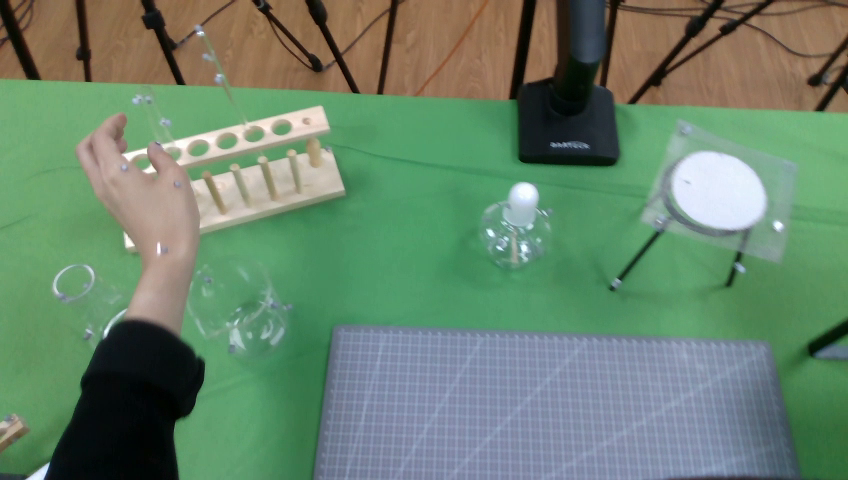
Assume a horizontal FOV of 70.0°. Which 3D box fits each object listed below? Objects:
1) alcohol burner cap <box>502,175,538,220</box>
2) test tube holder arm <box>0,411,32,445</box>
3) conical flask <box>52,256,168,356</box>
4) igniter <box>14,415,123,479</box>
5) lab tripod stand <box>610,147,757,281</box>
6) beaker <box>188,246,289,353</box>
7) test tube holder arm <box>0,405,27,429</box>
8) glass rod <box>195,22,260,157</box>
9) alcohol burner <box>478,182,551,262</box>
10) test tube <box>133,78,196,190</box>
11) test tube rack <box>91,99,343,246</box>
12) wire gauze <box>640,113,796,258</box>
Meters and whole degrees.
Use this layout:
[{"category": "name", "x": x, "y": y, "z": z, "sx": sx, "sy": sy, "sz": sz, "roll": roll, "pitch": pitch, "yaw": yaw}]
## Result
[{"category": "alcohol burner cap", "x": 0.095, "y": -0.045, "z": 0.595, "sx": 0.034, "sy": 0.048, "sz": 0.033, "roll": 1, "pitch": 61, "yaw": -1}, {"category": "test tube holder arm", "x": -0.378, "y": 0.179, "z": 0.512, "sx": 0.088, "sy": 0.015, "sz": 0.010, "roll": -38, "pitch": 68, "yaw": -19}, {"category": "conical flask", "x": -0.300, "y": 0.058, "z": 0.572, "sx": 0.075, "sy": 0.123, "sz": 0.074, "roll": 0, "pitch": 62, "yaw": 0}, {"category": "igniter", "x": -0.371, "y": 0.243, "z": 0.475, "sx": 0.276, "sy": 0.025, "sz": 0.057, "roll": -38, "pitch": 70, "yaw": -22}, {"category": "lab tripod stand", "x": 0.266, "y": -0.019, "z": 0.614, "sx": 0.148, "sy": 0.132, "sz": 0.147, "roll": 1, "pitch": 61, "yaw": -1}, {"category": "beaker", "x": -0.175, "y": 0.065, "z": 0.584, "sx": 0.074, "sy": 0.101, "sz": 0.083, "roll": 16, "pitch": 64, "yaw": 9}, {"category": "test tube holder arm", "x": -0.415, "y": 0.202, "z": 0.499, "sx": 0.178, "sy": 0.015, "sz": 0.013, "roll": -39, "pitch": 68, "yaw": -20}, {"category": "glass rod", "x": -0.193, "y": -0.136, "z": 0.622, "sx": 0.008, "sy": 0.201, "sz": 0.008, "roll": -3, "pitch": 56, "yaw": 5}, {"category": "alcohol burner", "x": 0.096, "y": -0.026, "z": 0.627, "sx": 0.078, "sy": 0.120, "sz": 0.077, "roll": 1, "pitch": 60, "yaw": -1}, {"category": "test tube", "x": -0.263, "y": -0.103, "z": 0.622, "sx": 0.017, "sy": 0.151, "sz": 0.017, "roll": 0, "pitch": 55, "yaw": 0}, {"category": "test tube rack", "x": -0.218, "y": -0.074, "z": 0.664, "sx": 0.243, "sy": 0.086, "sz": 0.066, "roll": -16, "pitch": 63, "yaw": -9}, {"category": "wire gauze", "x": 0.273, "y": -0.052, "z": 0.555, "sx": 0.121, "sy": 0.011, "sz": 0.124, "roll": 22, "pitch": 65, "yaw": 9}]
